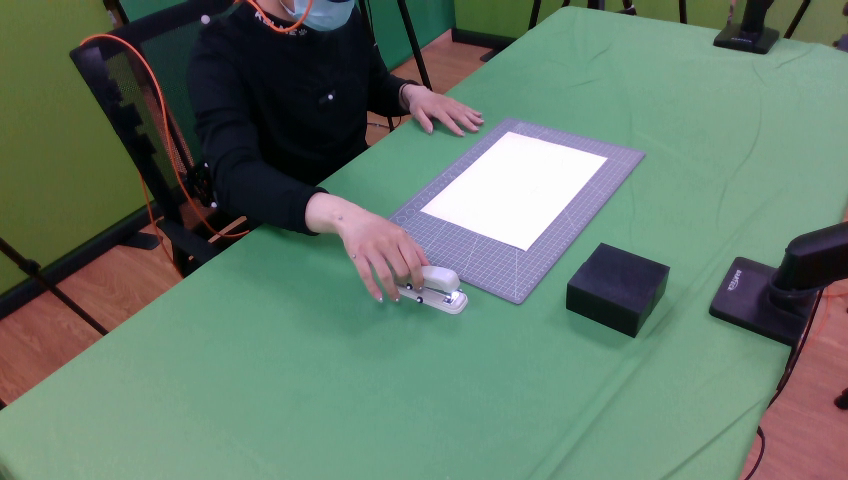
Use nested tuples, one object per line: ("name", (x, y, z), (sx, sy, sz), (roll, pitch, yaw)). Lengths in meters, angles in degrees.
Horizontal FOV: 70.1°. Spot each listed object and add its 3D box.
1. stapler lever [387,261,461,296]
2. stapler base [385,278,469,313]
("stapler lever", (-0.002, 0.050, 0.873), (0.117, 0.040, 0.027), (17, 43, 28))
("stapler base", (0.003, 0.069, 0.889), (0.129, 0.024, 0.041), (17, 43, 28))
